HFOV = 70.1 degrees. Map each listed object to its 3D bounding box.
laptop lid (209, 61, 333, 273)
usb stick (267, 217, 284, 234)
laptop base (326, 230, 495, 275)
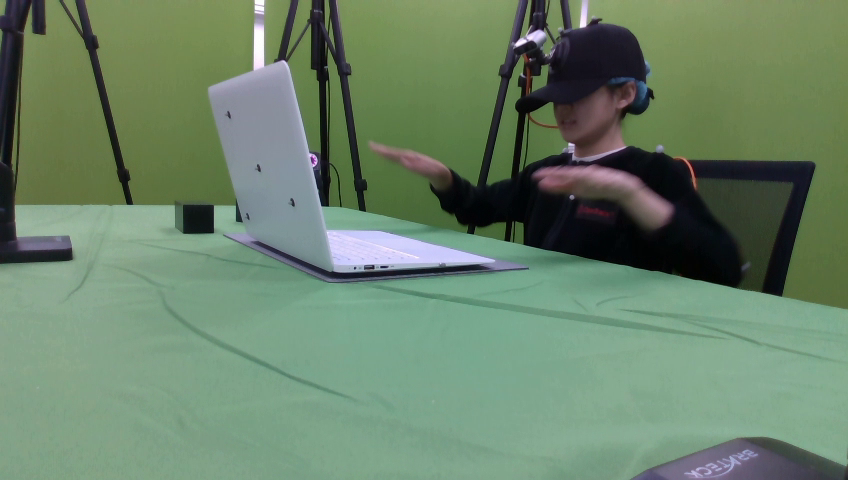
[{"bbox_3d":[-0.213,-0.095,0.790,0.013,0.241,0.355,-18,18,-29],"label":"laptop lid"},{"bbox_3d":[-0.263,-0.025,1.079,0.021,0.027,0.059,-1,11,-28],"label":"usb stick"},{"bbox_3d":[-0.093,0.015,0.884,0.237,0.023,0.352,3,6,-33],"label":"laptop base"}]
